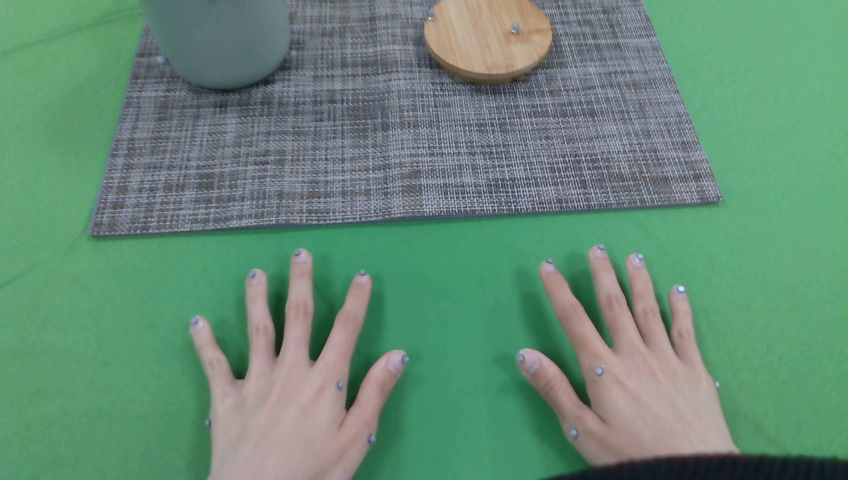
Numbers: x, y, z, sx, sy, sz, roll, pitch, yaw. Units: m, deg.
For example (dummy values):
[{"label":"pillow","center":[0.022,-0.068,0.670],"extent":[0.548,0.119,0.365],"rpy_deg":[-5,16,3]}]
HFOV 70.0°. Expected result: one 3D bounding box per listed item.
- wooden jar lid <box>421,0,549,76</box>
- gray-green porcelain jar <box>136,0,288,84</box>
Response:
[{"label":"wooden jar lid","center":[0.051,-0.179,0.516],"extent":[0.108,0.021,0.107],"rpy_deg":[0,58,0]},{"label":"gray-green porcelain jar","center":[-0.163,-0.192,0.456],"extent":[0.106,0.127,0.105],"rpy_deg":[1,58,-1]}]
